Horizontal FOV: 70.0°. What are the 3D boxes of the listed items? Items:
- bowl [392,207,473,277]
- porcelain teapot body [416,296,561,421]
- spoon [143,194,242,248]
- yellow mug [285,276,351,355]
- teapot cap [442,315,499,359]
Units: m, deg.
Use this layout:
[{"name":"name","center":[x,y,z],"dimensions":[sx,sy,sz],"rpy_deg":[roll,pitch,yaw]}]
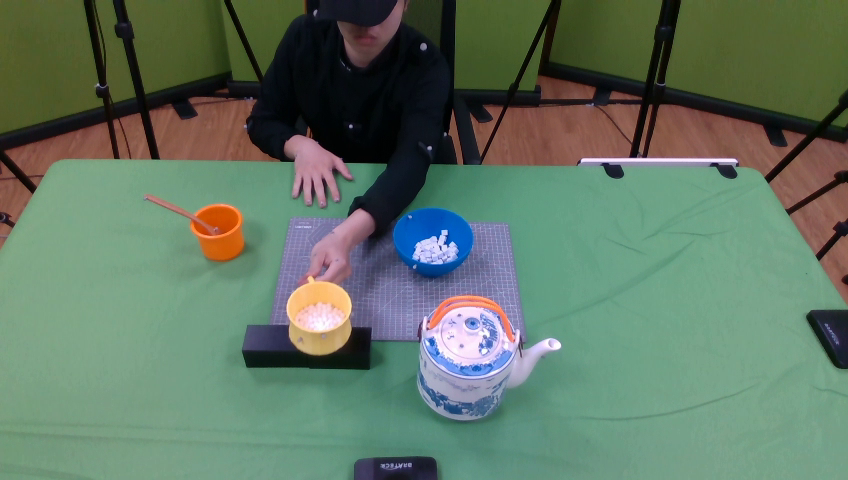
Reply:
[{"name":"bowl","center":[0.014,0.017,1.140],"dimensions":[0.151,0.077,0.150],"rpy_deg":[2,46,-2]},{"name":"porcelain teapot body","center":[0.094,0.164,0.907],"dimensions":[0.205,0.226,0.144],"rpy_deg":[6,45,1]},{"name":"spoon","center":[-0.421,-0.036,1.112],"dimensions":[0.021,0.195,0.041],"rpy_deg":[-37,37,23]},{"name":"yellow mug","center":[-0.173,0.112,0.972],"dimensions":[0.100,0.064,0.130],"rpy_deg":[-11,50,-19]},{"name":"teapot cap","center":[0.068,0.133,0.880],"dimensions":[0.085,0.044,0.084],"rpy_deg":[4,45,-4]}]
